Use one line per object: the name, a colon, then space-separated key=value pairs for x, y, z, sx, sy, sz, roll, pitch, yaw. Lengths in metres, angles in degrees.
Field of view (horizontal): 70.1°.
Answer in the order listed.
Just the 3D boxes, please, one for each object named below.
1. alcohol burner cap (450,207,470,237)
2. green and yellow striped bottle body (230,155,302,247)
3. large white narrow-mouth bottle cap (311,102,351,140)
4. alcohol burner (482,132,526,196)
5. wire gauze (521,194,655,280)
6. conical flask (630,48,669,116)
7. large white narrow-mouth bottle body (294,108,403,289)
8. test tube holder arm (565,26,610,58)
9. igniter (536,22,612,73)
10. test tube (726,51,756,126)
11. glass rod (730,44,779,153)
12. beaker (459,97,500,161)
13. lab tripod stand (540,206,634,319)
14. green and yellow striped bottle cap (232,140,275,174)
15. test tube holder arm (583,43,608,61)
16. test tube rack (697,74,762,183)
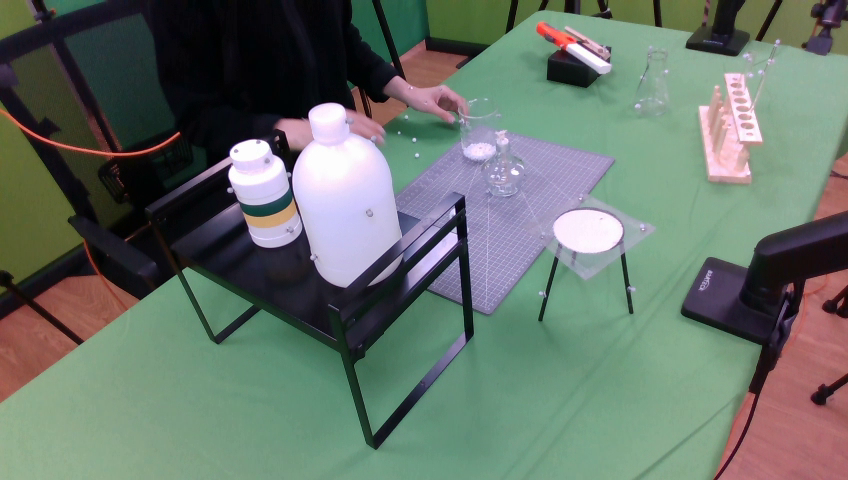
alcohol burner cap: x=0.057 y=-0.032 z=0.987 sx=0.034 sy=0.048 sz=0.033 roll=-4 pitch=41 yaw=4
green and yellow striped bottle body: x=-0.188 y=-0.055 z=0.714 sx=0.063 sy=0.120 sz=0.063 roll=-4 pitch=41 yaw=4
large white narrow-mouth bottle cap: x=-0.089 y=-0.114 z=0.579 sx=0.038 sy=0.024 sz=0.037 roll=-4 pitch=40 yaw=3
alcohol burner: x=0.137 y=-0.136 z=1.042 sx=0.078 sy=0.119 sz=0.077 roll=-4 pitch=43 yaw=4
wire gauze: x=0.207 y=-0.012 z=0.772 sx=0.122 sy=0.011 sz=0.124 roll=-28 pitch=44 yaw=-20
conical flask: x=0.456 y=-0.317 z=1.205 sx=0.075 sy=0.122 sz=0.075 roll=-4 pitch=41 yaw=4
large white narrow-mouth bottle body: x=-0.082 y=-0.047 z=0.634 sx=0.102 sy=0.195 sz=0.101 roll=-4 pitch=40 yaw=4
test tube holder arm: x=0.369 y=-0.450 z=1.373 sx=0.013 sy=0.015 sz=0.177 roll=-39 pitch=41 yaw=10
igniter: x=0.330 y=-0.439 z=1.366 sx=0.057 sy=0.025 sz=0.274 roll=-12 pitch=41 yaw=-20
test tube: x=0.568 y=-0.268 z=1.086 sx=0.017 sy=0.151 sz=0.017 roll=-4 pitch=46 yaw=4
glass rod: x=0.555 y=-0.234 z=1.020 sx=0.008 sy=0.200 sz=0.008 roll=2 pitch=40 yaw=-1
beaker: x=0.104 y=-0.208 z=1.142 sx=0.074 sy=0.101 sz=0.083 roll=-20 pitch=42 yaw=-15
lab tripod stand: x=0.218 y=0.034 z=0.821 sx=0.148 sy=0.132 sz=0.147 roll=-4 pitch=42 yaw=4
green and yellow striped bottle cap: x=-0.192 y=-0.094 z=0.680 sx=0.045 sy=0.020 sz=0.045 roll=-5 pitch=39 yaw=5
test tube holder arm: x=0.379 y=-0.420 z=1.341 sx=0.010 sy=0.015 sz=0.087 roll=-39 pitch=41 yaw=10
test tube rack: x=0.547 y=-0.208 z=1.095 sx=0.066 sy=0.085 sz=0.242 roll=5 pitch=42 yaw=15
